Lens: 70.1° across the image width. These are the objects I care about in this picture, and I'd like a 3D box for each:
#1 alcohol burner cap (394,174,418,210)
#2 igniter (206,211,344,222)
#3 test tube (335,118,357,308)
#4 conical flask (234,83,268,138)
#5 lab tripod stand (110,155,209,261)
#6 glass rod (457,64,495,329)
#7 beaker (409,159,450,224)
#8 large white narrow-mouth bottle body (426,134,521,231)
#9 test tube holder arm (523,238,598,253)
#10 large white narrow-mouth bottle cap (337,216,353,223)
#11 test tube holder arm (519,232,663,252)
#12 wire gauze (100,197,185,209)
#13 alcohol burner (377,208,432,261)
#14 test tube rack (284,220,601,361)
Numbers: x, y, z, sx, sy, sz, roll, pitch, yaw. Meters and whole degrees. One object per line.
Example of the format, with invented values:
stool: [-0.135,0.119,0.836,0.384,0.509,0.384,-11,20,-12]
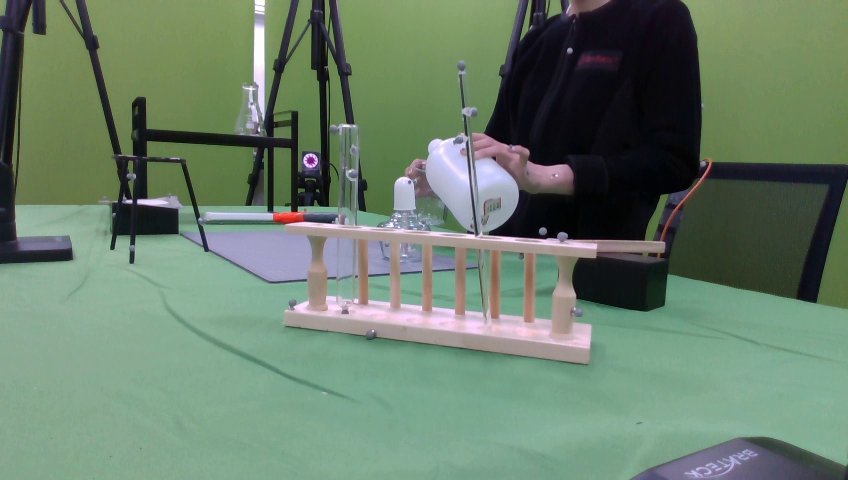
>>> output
alcohol burner cap: [-0.026,-0.067,0.834,0.034,0.048,0.034,-1,12,1]
igniter: [-0.302,-0.048,1.248,0.278,0.025,0.057,-2,-2,-27]
test tube: [-0.061,-0.019,0.476,0.017,0.150,0.017,2,11,0]
conical flask: [-0.400,-0.298,1.396,0.075,0.122,0.075,2,8,0]
lab tripod stand: [-0.361,-0.046,0.806,0.148,0.131,0.148,2,5,0]
glass rod: [0.040,-0.029,0.449,0.008,0.199,0.008,-7,9,1]
beaker: [0.014,-0.083,1.041,0.083,0.100,0.074,18,23,30]
large white narrow-mouth bottle body: [0.061,-0.106,0.931,0.102,0.101,0.193,-2,38,-30]
test tube holder arm: [0.144,0.005,0.637,0.088,0.015,0.010,-2,21,-20]
large white narrow-mouth bottle cap: [-0.161,-0.036,1.231,0.038,0.024,0.037,2,8,0]
test tube holder arm: [0.185,0.001,0.658,0.179,0.015,0.013,-3,21,-21]
wire gauze: [-0.469,-0.062,1.008,0.126,0.011,0.121,-2,8,-25]
alcohol burner: [-0.027,-0.031,0.838,0.078,0.119,0.078,0,6,0]
test tube rack: [0.013,0.032,0.482,0.242,0.085,0.067,4,7,16]
